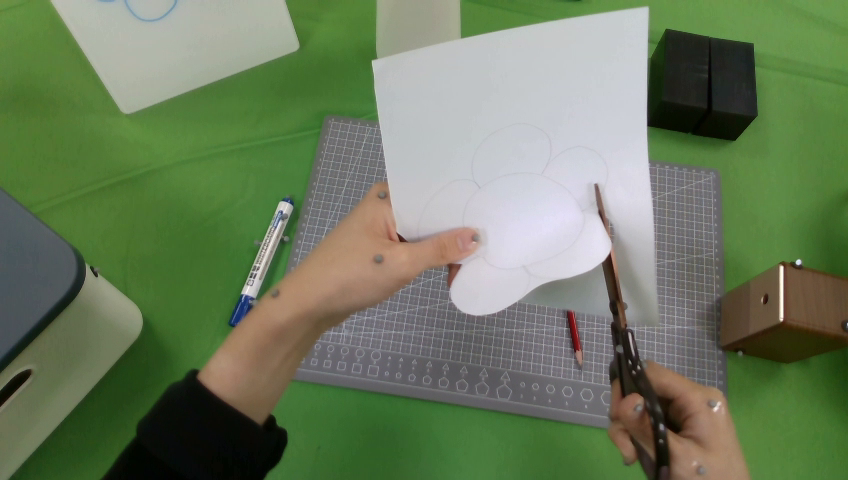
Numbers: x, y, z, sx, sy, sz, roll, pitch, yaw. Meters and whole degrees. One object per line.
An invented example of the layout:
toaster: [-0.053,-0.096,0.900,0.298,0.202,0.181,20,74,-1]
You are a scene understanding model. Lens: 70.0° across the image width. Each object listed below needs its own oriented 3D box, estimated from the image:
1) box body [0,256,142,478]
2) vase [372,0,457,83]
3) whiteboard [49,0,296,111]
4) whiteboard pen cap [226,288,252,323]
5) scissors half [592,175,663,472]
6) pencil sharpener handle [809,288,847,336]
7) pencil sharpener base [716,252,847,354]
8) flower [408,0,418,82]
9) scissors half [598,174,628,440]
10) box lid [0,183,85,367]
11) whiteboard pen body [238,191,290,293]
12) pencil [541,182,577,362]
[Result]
box body: [-0.472,0.041,0.523,0.362,0.161,0.253,34,72,11]
vase: [-0.011,-0.256,0.633,0.098,0.201,0.097,0,67,0]
whiteboard: [-0.297,-0.331,0.629,0.217,0.308,0.142,-24,52,-10]
whiteboard pen cap: [-0.181,0.064,0.598,0.018,0.018,0.033,14,65,4]
scissors half: [0.116,0.048,0.350,0.013,0.040,0.175,-11,87,0]
pencil sharpener handle: [0.386,0.071,0.556,0.030,0.068,0.035,12,62,0]
pencil sharpener base: [0.336,0.063,0.567,0.077,0.107,0.061,12,68,0]
flower: [-0.014,-0.300,0.561,0.044,0.365,0.038,2,51,3]
scissors half: [0.116,0.045,0.371,0.013,0.040,0.176,-10,110,5]
box lid: [-0.472,0.012,0.455,0.370,0.015,0.262,34,71,11]
whiteboard pen body: [-0.167,0.011,0.621,0.017,0.017,0.140,15,67,5]
pencil: [0.141,0.029,0.626,0.012,0.012,0.192,-5,71,-3]
